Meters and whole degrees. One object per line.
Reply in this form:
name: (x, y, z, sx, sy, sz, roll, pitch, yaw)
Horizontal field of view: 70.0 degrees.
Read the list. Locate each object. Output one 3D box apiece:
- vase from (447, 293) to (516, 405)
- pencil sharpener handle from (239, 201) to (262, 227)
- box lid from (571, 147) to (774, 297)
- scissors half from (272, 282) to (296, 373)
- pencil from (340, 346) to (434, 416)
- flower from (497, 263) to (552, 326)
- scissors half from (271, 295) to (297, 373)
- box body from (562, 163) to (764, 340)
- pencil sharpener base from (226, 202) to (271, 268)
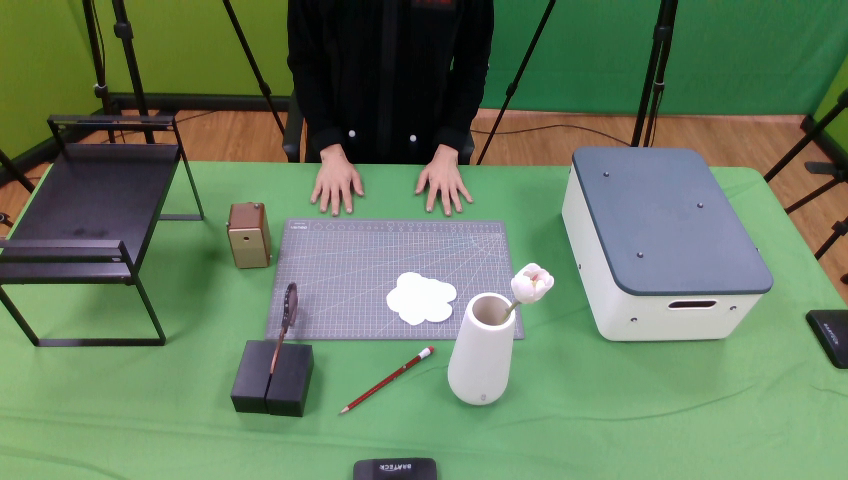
vase: (0.091, 0.169, 0.921, 0.098, 0.201, 0.097, 3, 47, -3)
pencil sharpener handle: (-0.325, -0.055, 1.150, 0.036, 0.068, 0.030, -13, 46, 4)
box lid: (0.424, -0.047, 1.074, 0.263, 0.015, 0.369, -1, 47, -5)
scissors half: (-0.229, 0.139, 0.986, 0.013, 0.040, 0.174, 4, 51, -2)
pencil: (-0.058, 0.228, 0.984, 0.194, 0.012, 0.012, -32, 56, -28)
flower: (0.103, 0.121, 0.853, 0.044, 0.363, 0.038, -2, 64, -10)
scissors half: (-0.230, 0.154, 1.000, 0.013, 0.040, 0.174, 0, 34, 2)
box body: (0.420, 0.003, 1.129, 0.254, 0.161, 0.361, -1, 46, -5)
pencil sharpener base: (-0.323, -0.010, 1.123, 0.061, 0.107, 0.076, -3, 46, -6)
